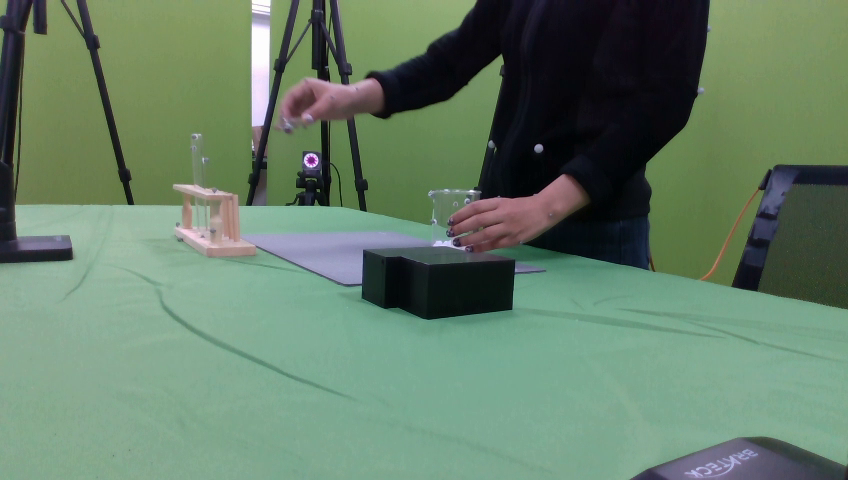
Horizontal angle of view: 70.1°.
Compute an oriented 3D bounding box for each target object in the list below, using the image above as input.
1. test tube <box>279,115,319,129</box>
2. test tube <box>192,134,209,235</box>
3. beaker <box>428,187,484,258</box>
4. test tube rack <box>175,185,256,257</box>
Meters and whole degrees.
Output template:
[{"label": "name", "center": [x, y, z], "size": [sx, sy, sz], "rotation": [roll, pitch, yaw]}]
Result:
[{"label": "test tube", "center": [-0.190, -0.182, 0.932], "size": [0.017, 0.017, 0.150], "rotation": [3, 14, 8]}, {"label": "test tube", "center": [-0.332, -0.082, 0.898], "size": [0.017, 0.150, 0.017], "rotation": [-2, 6, 0]}, {"label": "beaker", "center": [0.045, -0.026, 0.894], "size": [0.084, 0.100, 0.074], "rotation": [-1, 7, -16]}, {"label": "test tube rack", "center": [-0.324, -0.035, 0.922], "size": [0.067, 0.085, 0.241], "rotation": [-2, 9, -31]}]
